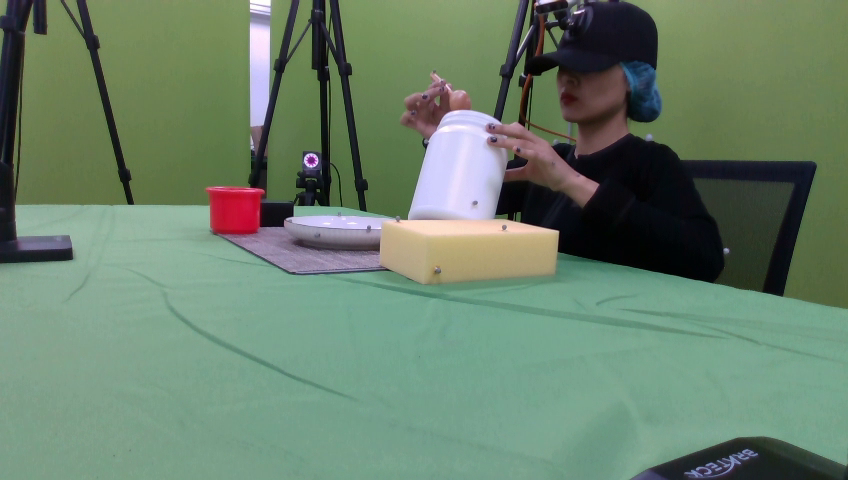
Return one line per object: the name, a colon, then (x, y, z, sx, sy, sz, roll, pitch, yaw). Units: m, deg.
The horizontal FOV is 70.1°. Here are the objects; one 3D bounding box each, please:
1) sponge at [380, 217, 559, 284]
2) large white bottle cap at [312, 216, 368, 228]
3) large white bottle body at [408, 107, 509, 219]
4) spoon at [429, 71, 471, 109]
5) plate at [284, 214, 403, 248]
sponge: (0.059, 0.008, 0.786, 0.208, 0.061, 0.117, -3, 11, -32)
large white bottle cap: (-0.171, -0.038, 1.234, 0.115, 0.018, 0.115, 2, 5, 0)
large white bottle body: (0.059, -0.099, 0.937, 0.130, 0.184, 0.130, 13, -16, 4)
spoon: (0.041, -0.260, 1.046, 0.022, 0.041, 0.193, 12, 25, -21)
plate: (-0.122, -0.015, 0.984, 0.209, 0.038, 0.209, 2, 7, 0)
